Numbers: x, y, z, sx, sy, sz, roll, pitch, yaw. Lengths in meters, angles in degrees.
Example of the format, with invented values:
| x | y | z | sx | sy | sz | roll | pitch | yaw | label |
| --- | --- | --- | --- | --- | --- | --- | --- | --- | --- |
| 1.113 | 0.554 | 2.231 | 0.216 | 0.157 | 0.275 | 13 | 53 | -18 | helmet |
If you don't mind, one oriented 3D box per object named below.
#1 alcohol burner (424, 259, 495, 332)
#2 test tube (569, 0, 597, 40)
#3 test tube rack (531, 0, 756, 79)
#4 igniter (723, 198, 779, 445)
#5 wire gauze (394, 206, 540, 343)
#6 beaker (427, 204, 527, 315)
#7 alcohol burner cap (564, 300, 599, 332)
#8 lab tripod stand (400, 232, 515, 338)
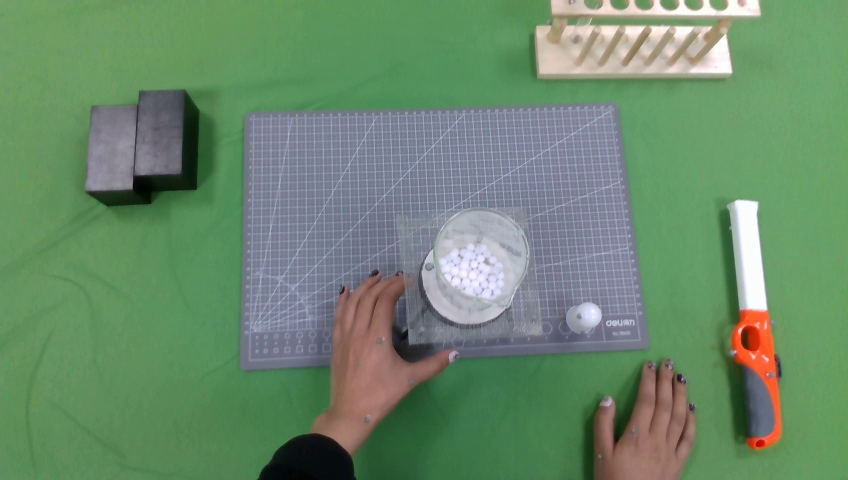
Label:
| x | y | z | sx | sy | sz | roll | pitch | yaw | label |
| --- | --- | --- | --- | --- | --- | --- | --- | --- | --- |
| 0.037 | 0.054 | 0.626 | 0.078 | 0.119 | 0.077 | 1 | 74 | -3 | alcohol burner |
| 0.188 | -0.275 | 0.679 | 0.017 | 0.151 | 0.017 | 1 | 72 | -2 | test tube |
| 0.258 | -0.245 | 0.726 | 0.242 | 0.085 | 0.066 | -1 | 76 | -3 | test tube rack |
| 0.367 | 0.087 | 0.682 | 0.057 | 0.025 | 0.275 | 4 | 76 | -12 | igniter |
| 0.039 | 0.029 | 0.554 | 0.125 | 0.011 | 0.121 | -4 | 75 | -1 | wire gauze |
| 0.042 | 0.024 | 0.505 | 0.074 | 0.100 | 0.083 | -25 | 77 | -7 | beaker |
| 0.175 | 0.082 | 0.663 | 0.034 | 0.048 | 0.033 | 0 | 75 | -1 | alcohol burner cap |
| 0.034 | 0.048 | 0.616 | 0.148 | 0.132 | 0.147 | 0 | 75 | -1 | lab tripod stand |
